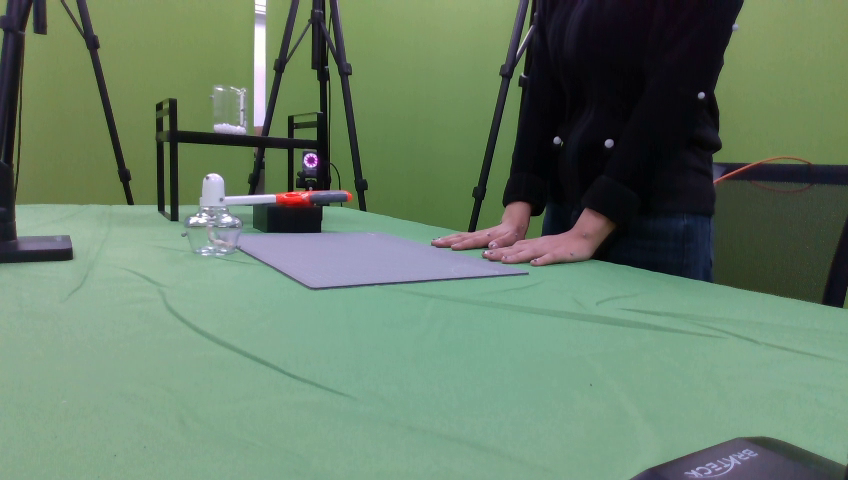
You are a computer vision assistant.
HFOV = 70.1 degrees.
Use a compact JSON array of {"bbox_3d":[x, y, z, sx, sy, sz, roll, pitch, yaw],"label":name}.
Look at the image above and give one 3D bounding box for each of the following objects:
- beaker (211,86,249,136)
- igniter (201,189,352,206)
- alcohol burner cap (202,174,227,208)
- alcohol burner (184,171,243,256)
[{"bbox_3d":[-0.413,-0.274,1.297,0.074,0.100,0.083,-5,11,-44],"label":"beaker"},{"bbox_3d":[-0.271,-0.078,1.139,0.278,0.025,0.057,-5,10,-27],"label":"igniter"},{"bbox_3d":[-0.293,-0.068,0.847,0.034,0.048,0.034,0,6,0],"label":"alcohol burner cap"},{"bbox_3d":[-0.296,-0.038,0.851,0.078,0.119,0.078,2,5,0],"label":"alcohol burner"}]
